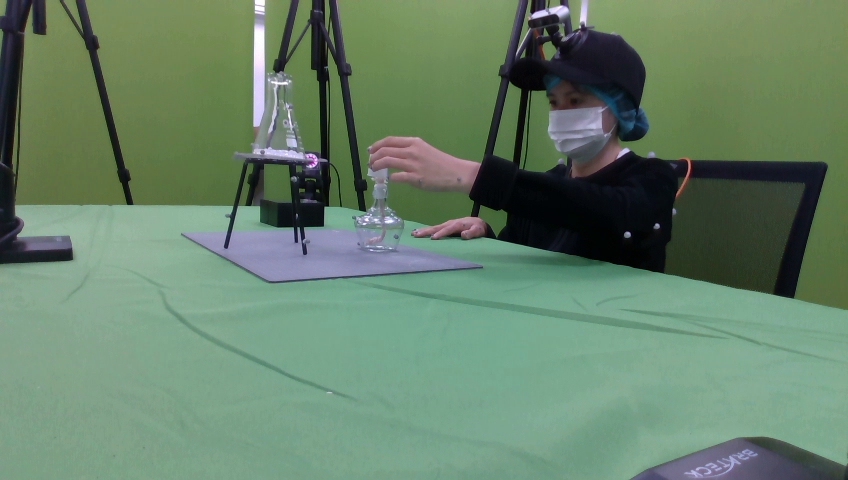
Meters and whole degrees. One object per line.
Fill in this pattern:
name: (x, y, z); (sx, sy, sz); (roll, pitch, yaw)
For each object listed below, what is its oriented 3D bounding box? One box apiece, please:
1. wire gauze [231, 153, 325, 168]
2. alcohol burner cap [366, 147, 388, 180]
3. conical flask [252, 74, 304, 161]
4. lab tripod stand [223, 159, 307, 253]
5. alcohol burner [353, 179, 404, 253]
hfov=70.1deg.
wire gauze: (-0.215, -0.117, 0.882); (0.125, 0.011, 0.121); (3, 7, -19)
alcohol burner cap: (-0.069, -0.116, 0.907); (0.034, 0.048, 0.034); (5, 14, -1)
conical flask: (-0.211, -0.177, 0.879); (0.075, 0.122, 0.075); (3, 6, 0)
lab tripod stand: (-0.220, -0.053, 0.896); (0.148, 0.131, 0.148); (1, 6, 0)
alcohol burner: (-0.070, -0.040, 0.927); (0.078, 0.119, 0.078); (1, 9, 0)
